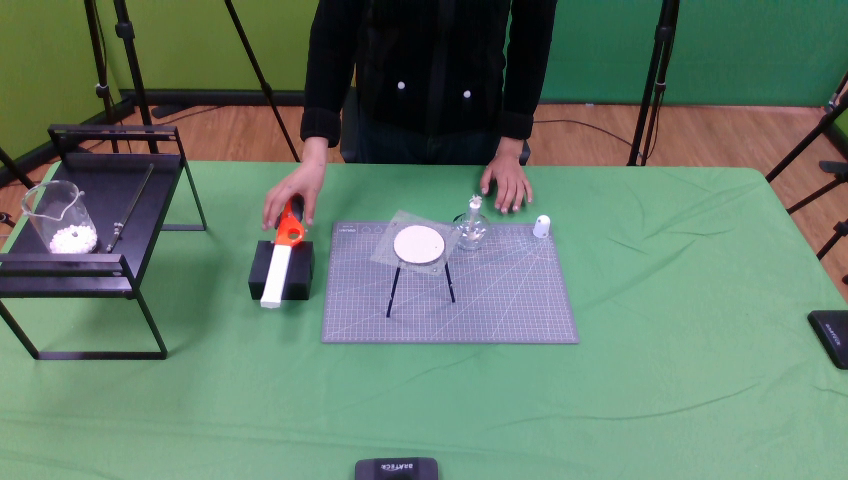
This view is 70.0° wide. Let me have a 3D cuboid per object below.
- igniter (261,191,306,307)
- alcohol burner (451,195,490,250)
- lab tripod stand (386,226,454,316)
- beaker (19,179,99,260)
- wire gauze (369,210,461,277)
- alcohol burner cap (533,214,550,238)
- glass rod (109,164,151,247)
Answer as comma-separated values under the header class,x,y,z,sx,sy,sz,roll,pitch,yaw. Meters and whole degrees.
class,x,y,z,sx,sy,sz,roll,pitch,yaw
igniter,-0.254,0.007,1.104,0.057,0.025,0.275,6,47,-5
alcohol burner,0.092,-0.038,1.175,0.078,0.120,0.077,2,44,-2
lab tripod stand,-0.014,0.054,1.064,0.148,0.132,0.147,2,48,-3
beaker,-0.522,-0.024,0.878,0.074,0.101,0.083,-26,54,-25
wire gauze,-0.013,0.005,1.017,0.121,0.011,0.124,17,49,12
alcohol burner cap,0.240,-0.031,1.228,0.034,0.048,0.033,1,46,-1
glass rod,-0.473,-0.061,0.979,0.008,0.008,0.198,1,46,-3
